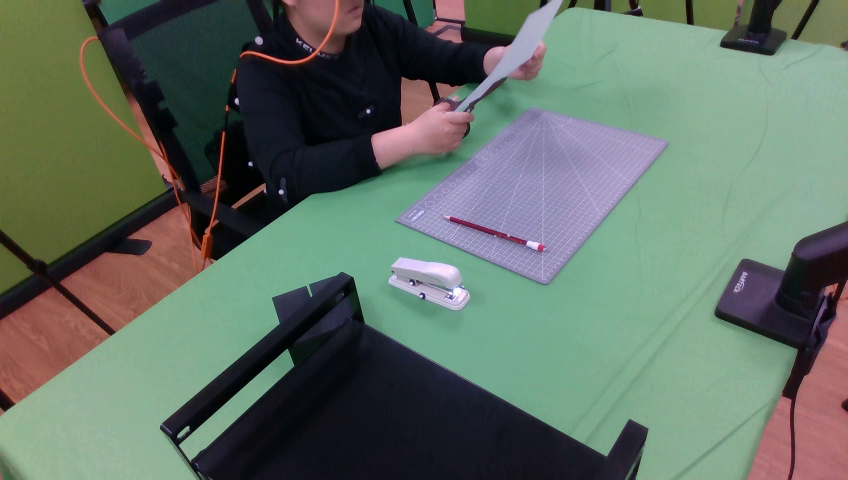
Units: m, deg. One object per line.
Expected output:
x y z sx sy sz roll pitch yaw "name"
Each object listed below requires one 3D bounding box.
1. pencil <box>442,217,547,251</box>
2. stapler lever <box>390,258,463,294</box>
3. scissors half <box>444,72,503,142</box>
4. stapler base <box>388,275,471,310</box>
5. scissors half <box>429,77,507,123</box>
0.110 -0.012 0.979 0.192 0.012 0.012 18 46 30 "pencil"
0.003 0.046 0.881 0.117 0.040 0.027 17 44 29 "stapler lever"
0.094 -0.246 1.128 0.040 0.175 0.013 36 38 -4 "scissors half"
0.007 0.066 0.897 0.129 0.024 0.041 17 44 29 "stapler base"
0.080 -0.263 1.124 0.174 0.040 0.013 -18 19 32 "scissors half"
